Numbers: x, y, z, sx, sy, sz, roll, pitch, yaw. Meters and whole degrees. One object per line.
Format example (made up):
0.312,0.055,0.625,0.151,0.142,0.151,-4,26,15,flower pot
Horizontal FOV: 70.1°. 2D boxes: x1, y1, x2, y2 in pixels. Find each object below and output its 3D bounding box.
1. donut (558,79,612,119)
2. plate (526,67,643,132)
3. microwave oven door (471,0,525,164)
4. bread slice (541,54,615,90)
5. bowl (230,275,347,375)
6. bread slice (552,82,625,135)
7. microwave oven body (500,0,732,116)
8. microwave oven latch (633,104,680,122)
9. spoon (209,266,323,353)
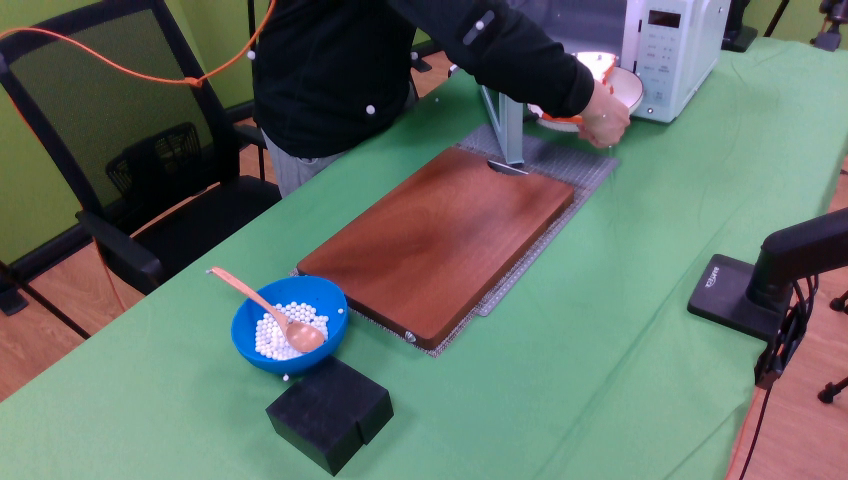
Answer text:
0.287,-0.255,1.079,0.099,0.048,0.098,-24,33,17,donut
0.293,-0.255,1.110,0.207,0.039,0.206,-8,41,8,plate
0.136,-0.342,1.153,0.039,0.245,0.353,-9,40,-1,microwave oven door
0.278,-0.299,1.072,0.106,0.018,0.134,9,39,27,bread slice
-0.171,0.125,0.801,0.151,0.077,0.150,-4,40,4,bowl
0.310,-0.248,1.125,0.104,0.019,0.131,14,59,39,bread slice
0.377,-0.462,1.267,0.438,0.261,0.327,21,49,30,microwave oven body
0.443,-0.249,1.157,0.078,0.029,0.030,21,49,30,microwave oven latch
-0.213,0.087,0.806,0.193,0.021,0.042,36,56,11,spoon
